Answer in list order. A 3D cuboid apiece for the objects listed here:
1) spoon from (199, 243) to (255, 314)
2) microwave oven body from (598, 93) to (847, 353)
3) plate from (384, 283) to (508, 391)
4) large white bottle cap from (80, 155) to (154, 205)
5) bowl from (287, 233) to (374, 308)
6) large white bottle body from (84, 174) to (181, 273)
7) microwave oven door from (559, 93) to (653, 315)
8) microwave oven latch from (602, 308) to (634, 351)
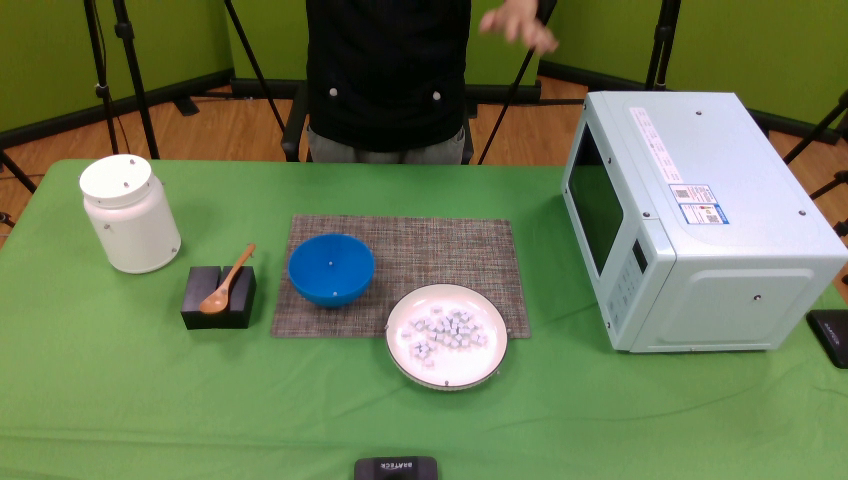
[{"bbox_3d":[-0.333,0.062,1.051,0.041,0.022,0.193,7,40,8],"label":"spoon"},{"bbox_3d":[0.475,-0.041,1.109,0.326,0.261,0.438,-1,45,-4],"label":"microwave oven body"},{"bbox_3d":[0.036,0.166,1.029,0.209,0.038,0.208,2,49,-2],"label":"plate"},{"bbox_3d":[-0.519,-0.103,1.027,0.115,0.018,0.114,2,46,-2],"label":"large white bottle cap"},{"bbox_3d":[-0.164,0.068,1.078,0.151,0.077,0.150,3,46,-2],"label":"bowl"},{"bbox_3d":[-0.523,-0.045,1.088,0.131,0.185,0.130,2,46,-2],"label":"large white bottle body"},{"bbox_3d":[0.327,-0.074,1.123,0.039,0.245,0.353,-1,46,-5],"label":"microwave oven door"},{"bbox_3d":[0.332,0.153,1.044,0.030,0.029,0.078,-1,45,-4],"label":"microwave oven latch"}]
